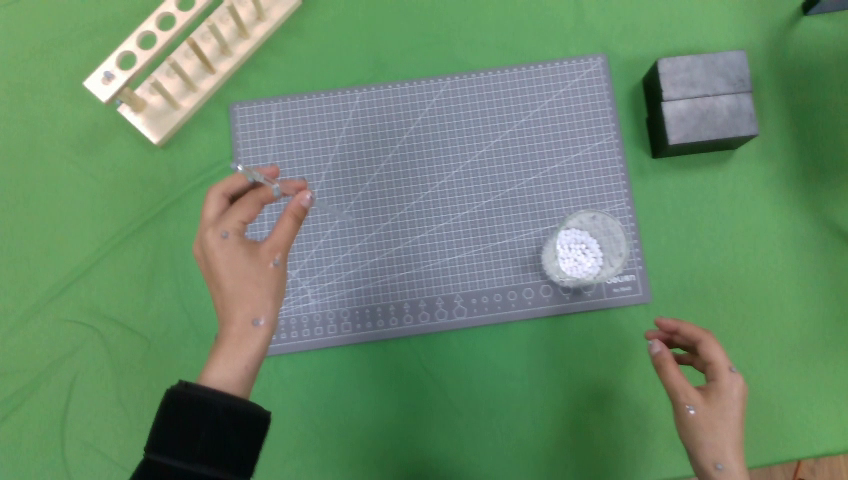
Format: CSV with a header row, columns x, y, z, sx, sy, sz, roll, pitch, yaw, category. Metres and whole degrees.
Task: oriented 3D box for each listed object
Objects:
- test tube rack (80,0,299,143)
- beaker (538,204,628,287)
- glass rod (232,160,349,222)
x,y,z,sx,sy,sz,roll,pitch,yaw,category
-0.255,-0.230,0.683,0.066,0.085,0.242,41,84,7,test tube rack
0.160,0.013,0.638,0.074,0.100,0.084,44,84,7,beaker
-0.105,-0.037,0.515,0.008,0.201,0.008,-2,80,15,glass rod
